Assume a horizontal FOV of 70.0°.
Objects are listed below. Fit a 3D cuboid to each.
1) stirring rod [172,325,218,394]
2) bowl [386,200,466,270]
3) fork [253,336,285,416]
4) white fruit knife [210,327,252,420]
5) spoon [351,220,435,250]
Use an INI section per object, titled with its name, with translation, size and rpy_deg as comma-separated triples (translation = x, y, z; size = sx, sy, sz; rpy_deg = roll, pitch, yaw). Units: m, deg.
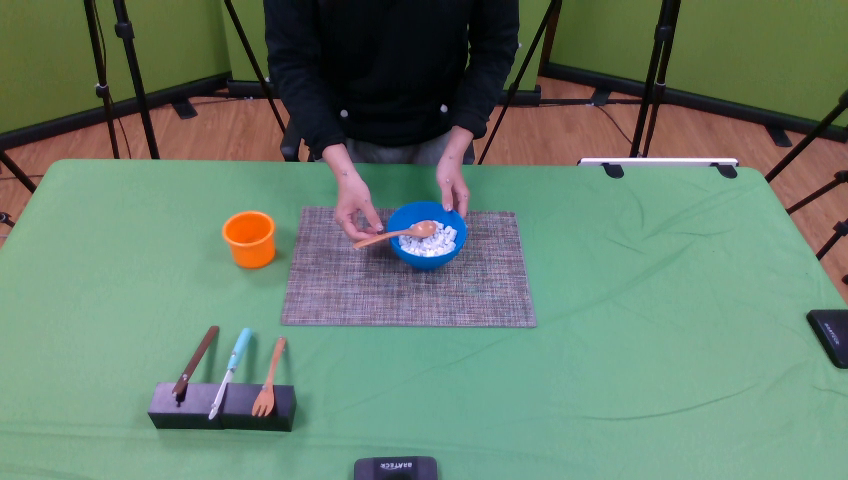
[stirring rod]
translation = -0.361, 0.185, 0.962
size = 0.014, 0.006, 0.175
rpy_deg = 1, 26, 0
[bowl]
translation = 0.001, 0.003, 1.150
size = 0.151, 0.077, 0.150
rpy_deg = 2, 46, -2
[fork]
translation = -0.235, 0.206, 0.938
size = 0.028, 0.019, 0.206
rpy_deg = -2, 26, -3
[white fruit knife]
translation = -0.298, 0.200, 0.937
size = 0.016, 0.027, 0.206
rpy_deg = 0, 30, 0
[spoon]
translation = -0.055, -0.010, 1.110
size = 0.194, 0.022, 0.041
rpy_deg = -13, 40, -42
